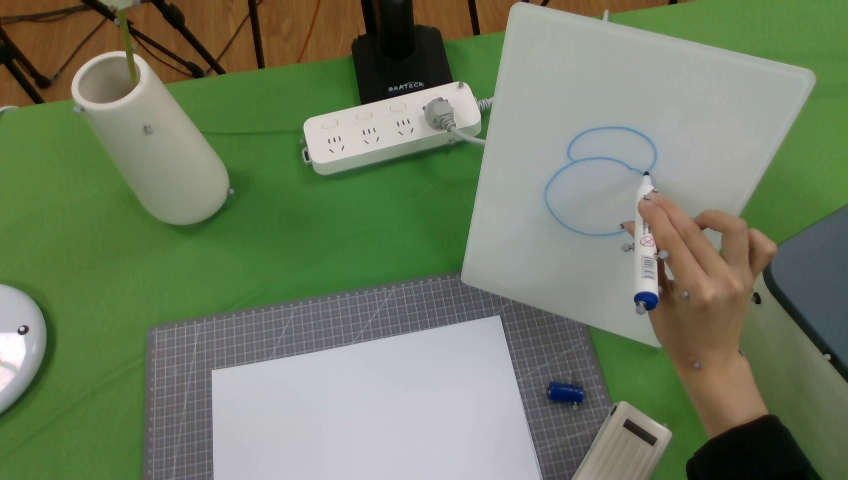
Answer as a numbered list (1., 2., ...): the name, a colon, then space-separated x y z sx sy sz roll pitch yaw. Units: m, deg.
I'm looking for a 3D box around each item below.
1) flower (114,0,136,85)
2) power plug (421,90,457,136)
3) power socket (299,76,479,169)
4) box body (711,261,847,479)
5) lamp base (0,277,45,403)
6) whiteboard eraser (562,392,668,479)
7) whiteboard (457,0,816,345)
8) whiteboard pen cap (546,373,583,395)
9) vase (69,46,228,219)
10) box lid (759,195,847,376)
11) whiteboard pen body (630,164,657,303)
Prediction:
1. flower: -0.260 -0.137 0.549 0.038 0.363 0.044 38 61 1
2. power plug: 0.016 -0.140 0.701 0.035 0.053 0.072 -5 69 -1
3. power socket: -0.040 -0.142 0.729 0.227 0.033 0.071 -15 65 -6
4. box body: 0.462 0.129 0.505 0.254 0.161 0.361 -27 66 -11
5. lamp base: -0.487 0.070 0.555 0.178 0.182 0.160 20 65 15
6. whiteboard eraser: 0.169 0.198 0.545 0.055 0.042 0.112 32 69 17
7. whiteboard: 0.173 -0.078 0.573 0.216 0.308 0.143 18 44 12
8. whiteboard pen cap: 0.136 0.141 0.588 0.033 0.018 0.018 8 64 3
9. vase: -0.278 -0.103 0.625 0.098 0.201 0.097 -1 63 3
10. box lid: 0.458 0.093 0.439 0.263 0.015 0.368 -27 66 -10
11. whiteboard pen body: 0.161 -0.011 0.446 0.017 0.017 0.139 11 48 8
